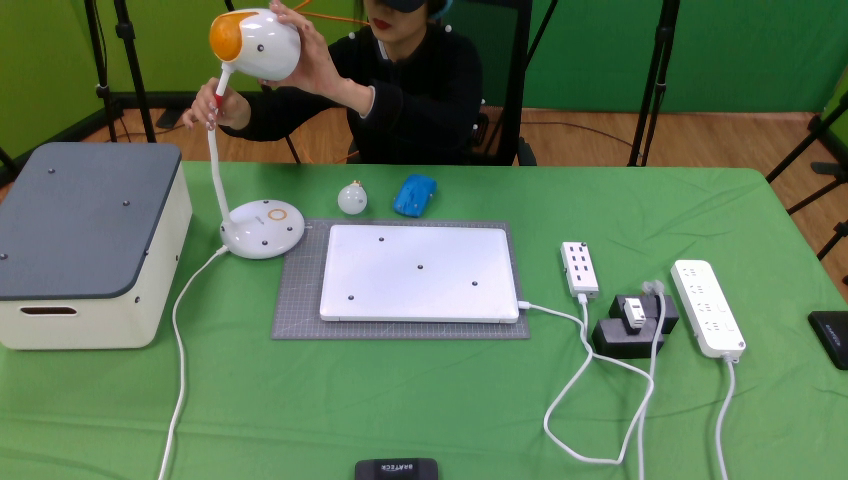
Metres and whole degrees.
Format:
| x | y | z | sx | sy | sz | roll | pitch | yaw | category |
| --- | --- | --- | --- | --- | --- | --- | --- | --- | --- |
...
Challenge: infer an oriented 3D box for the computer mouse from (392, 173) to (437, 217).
| x | y | z | sx | sy | sz | roll | pitch | yaw | category |
| --- | --- | --- | --- | --- | --- | --- | --- | --- | --- |
| -0.018 | -0.099 | 1.282 | 0.062 | 0.041 | 0.117 | 20 | 52 | 12 | computer mouse |

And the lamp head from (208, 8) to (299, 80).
| x | y | z | sx | sy | sz | roll | pitch | yaw | category |
| --- | --- | --- | --- | --- | --- | --- | --- | --- | --- |
| -0.276 | -0.306 | 0.947 | 0.112 | 0.113 | 0.123 | 27 | 27 | 21 | lamp head |

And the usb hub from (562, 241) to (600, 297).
| x | y | z | sx | sy | sz | roll | pitch | yaw | category |
| --- | --- | --- | --- | --- | --- | --- | --- | --- | --- |
| 0.300 | 0.055 | 1.162 | 0.049 | 0.025 | 0.124 | 2 | 46 | -3 | usb hub |

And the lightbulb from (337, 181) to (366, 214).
| x | y | z | sx | sy | sz | roll | pitch | yaw | category |
| --- | --- | --- | --- | --- | --- | --- | --- | --- | --- |
| -0.147 | -0.094 | 1.261 | 0.059 | 0.060 | 0.107 | 4 | 30 | 0 | lightbulb |

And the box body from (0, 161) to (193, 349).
| x | y | z | sx | sy | sz | roll | pitch | yaw | category |
| --- | --- | --- | --- | --- | --- | --- | --- | --- | --- |
| -0.570 | 0.006 | 1.054 | 0.254 | 0.161 | 0.361 | -1 | 46 | -4 | box body |

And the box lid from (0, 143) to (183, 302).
| x | y | z | sx | sy | sz | roll | pitch | yaw | category |
| --- | --- | --- | --- | --- | --- | --- | --- | --- | --- |
| -0.567 | -0.045 | 0.999 | 0.263 | 0.015 | 0.369 | -1 | 45 | -4 | box lid |

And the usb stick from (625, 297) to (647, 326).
| x | y | z | sx | sy | sz | roll | pitch | yaw | category |
| --- | --- | --- | --- | --- | --- | --- | --- | --- | --- |
| 0.360 | 0.116 | 1.034 | 0.021 | 0.027 | 0.059 | -2 | 44 | -2 | usb stick |

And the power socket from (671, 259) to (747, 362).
| x | y | z | sx | sy | sz | roll | pitch | yaw | category |
| --- | --- | --- | --- | --- | --- | --- | --- | --- | --- |
| 0.517 | 0.119 | 1.108 | 0.072 | 0.033 | 0.225 | 1 | 46 | -2 | power socket |

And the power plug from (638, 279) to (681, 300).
| x | y | z | sx | sy | sz | roll | pitch | yaw | category |
| --- | --- | --- | --- | --- | --- | --- | --- | --- | --- |
| 0.434 | 0.099 | 1.119 | 0.073 | 0.053 | 0.035 | 34 | 38 | -15 | power plug |

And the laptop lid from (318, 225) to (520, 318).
| x | y | z | sx | sy | sz | roll | pitch | yaw | category |
| --- | --- | --- | --- | --- | --- | --- | --- | --- | --- |
| -0.009 | 0.052 | 1.131 | 0.357 | 0.013 | 0.240 | 2 | 43 | -2 | laptop lid |

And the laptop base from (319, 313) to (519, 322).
| x | y | z | sx | sy | sz | roll | pitch | yaw | category |
| --- | --- | --- | --- | --- | --- | --- | --- | --- | --- |
| -0.009 | 0.063 | 1.138 | 0.354 | 0.023 | 0.234 | 1 | 42 | -3 | laptop base |

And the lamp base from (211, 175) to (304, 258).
| x | y | z | sx | sy | sz | roll | pitch | yaw | category |
| --- | --- | --- | --- | --- | --- | --- | --- | --- | --- |
| -0.324 | -0.071 | 1.132 | 0.160 | 0.181 | 0.179 | 32 | 55 | 26 | lamp base |
